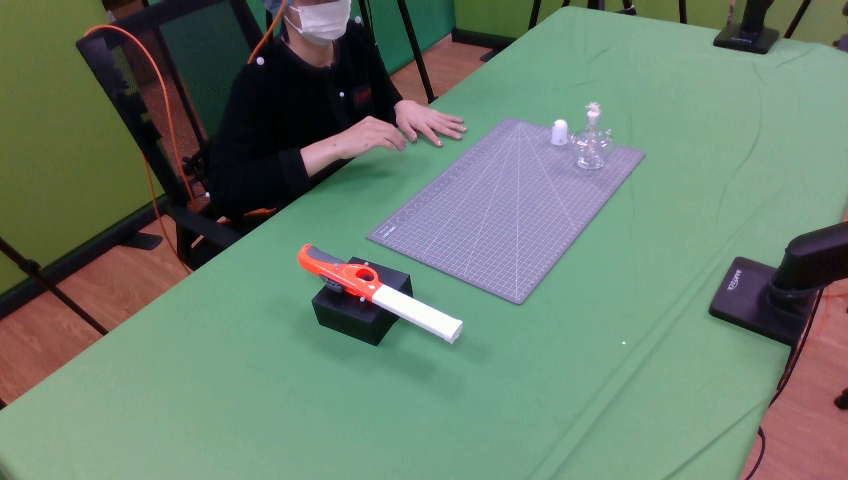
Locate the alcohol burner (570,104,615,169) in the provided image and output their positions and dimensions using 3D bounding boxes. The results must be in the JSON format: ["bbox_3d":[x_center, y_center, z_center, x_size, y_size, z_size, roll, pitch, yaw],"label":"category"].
[{"bbox_3d":[0.299,-0.186,1.071,0.078,0.119,0.077,-6,41,6],"label":"alcohol burner"}]

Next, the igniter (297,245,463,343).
[{"bbox_3d":[-0.070,0.068,0.828,0.274,0.025,0.057,23,49,25],"label":"igniter"}]

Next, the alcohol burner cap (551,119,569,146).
[{"bbox_3d":[0.261,-0.208,1.156,0.034,0.048,0.033,-5,41,5],"label":"alcohol burner cap"}]
